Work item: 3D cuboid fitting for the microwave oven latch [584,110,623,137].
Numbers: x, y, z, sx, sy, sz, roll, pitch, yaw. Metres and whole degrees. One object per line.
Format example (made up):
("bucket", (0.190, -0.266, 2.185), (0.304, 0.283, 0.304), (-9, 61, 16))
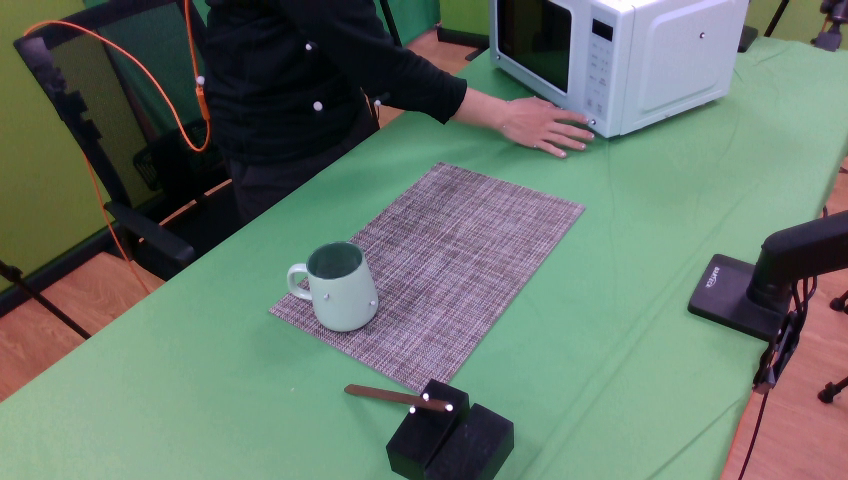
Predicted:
("microwave oven latch", (0.337, -0.222, 1.142), (0.030, 0.029, 0.078), (-21, 42, -14))

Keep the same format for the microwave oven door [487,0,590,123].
("microwave oven door", (0.232, -0.420, 1.231), (0.039, 0.245, 0.352), (-22, 43, -16))

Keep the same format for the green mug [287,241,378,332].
("green mug", (-0.131, 0.065, 0.843), (0.125, 0.105, 0.092), (3, 42, 12))

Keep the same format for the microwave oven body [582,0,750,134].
("microwave oven body", (0.382, -0.445, 1.246), (0.327, 0.261, 0.437), (-22, 42, -16))

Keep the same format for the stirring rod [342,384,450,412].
("stirring rod", (-0.038, 0.186, 0.714), (0.175, 0.006, 0.014), (-4, 22, 43))
